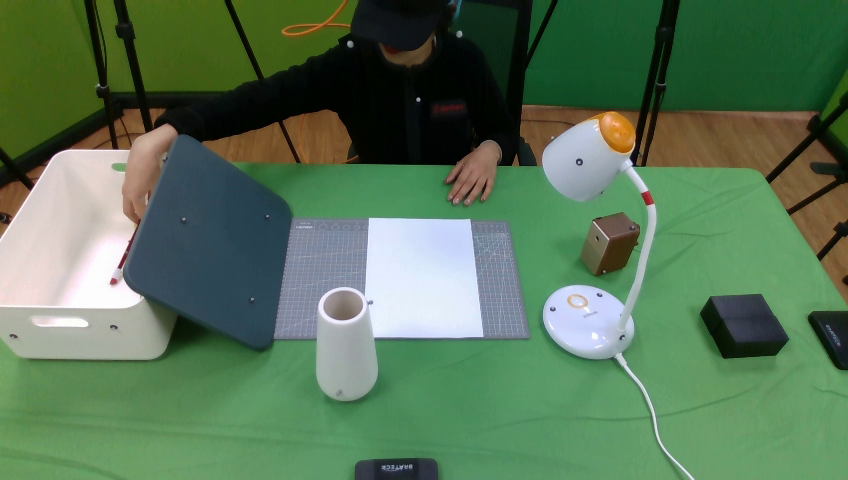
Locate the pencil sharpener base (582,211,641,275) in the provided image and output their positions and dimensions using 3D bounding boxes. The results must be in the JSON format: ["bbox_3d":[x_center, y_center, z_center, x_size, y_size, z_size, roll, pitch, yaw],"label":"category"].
[{"bbox_3d":[0.357,0.005,1.156,0.077,0.107,0.061,-15,48,-18],"label":"pencil sharpener base"}]

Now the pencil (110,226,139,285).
[{"bbox_3d":[-0.536,-0.005,1.125,0.012,0.012,0.193,10,63,6],"label":"pencil"}]

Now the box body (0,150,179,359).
[{"bbox_3d":[-0.541,0.021,1.042,0.254,0.161,0.361,1,46,-3],"label":"box body"}]

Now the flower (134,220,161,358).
[{"bbox_3d":[-0.508,0.071,1.092,0.044,0.038,0.359,-41,45,9],"label":"flower"}]

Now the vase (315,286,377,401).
[{"bbox_3d":[-0.119,0.159,0.911,0.098,0.201,0.097,2,47,-2],"label":"vase"}]

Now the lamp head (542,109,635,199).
[{"bbox_3d":[0.253,-0.131,0.893,0.113,0.123,0.112,10,66,-24],"label":"lamp head"}]

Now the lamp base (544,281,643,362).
[{"bbox_3d":[0.303,0.095,1.014,0.161,0.181,0.178,-24,54,-24],"label":"lamp base"}]

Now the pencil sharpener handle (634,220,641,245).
[{"bbox_3d":[0.405,-0.015,1.161,0.031,0.068,0.035,-15,44,-18],"label":"pencil sharpener handle"}]

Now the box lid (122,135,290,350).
[{"bbox_3d":[-0.356,-0.007,1.059,0.015,0.265,0.369,-33,39,26],"label":"box lid"}]
